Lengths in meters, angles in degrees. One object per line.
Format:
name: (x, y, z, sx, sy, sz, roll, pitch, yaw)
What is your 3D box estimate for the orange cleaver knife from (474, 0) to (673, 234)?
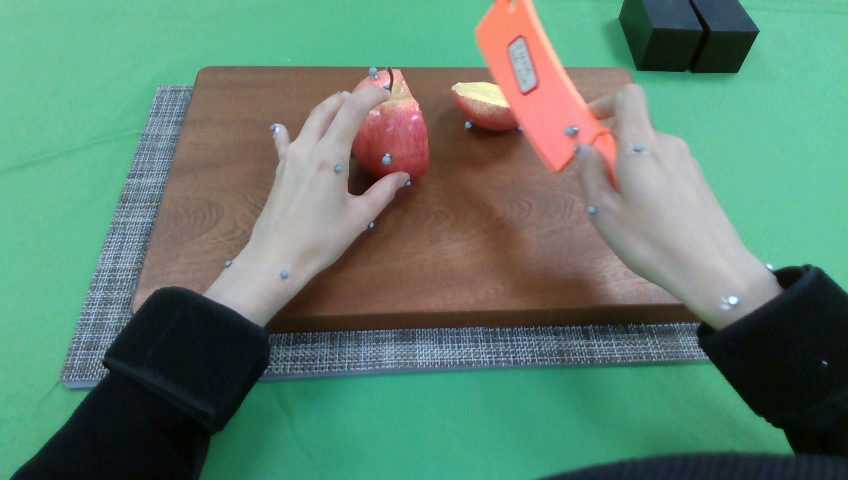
orange cleaver knife: (0.090, -0.085, 0.407, 0.012, 0.077, 0.209, -19, 69, -24)

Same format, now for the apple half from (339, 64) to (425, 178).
apple half: (-0.036, -0.085, 0.455, 0.053, 0.075, 0.080, -17, 59, -11)

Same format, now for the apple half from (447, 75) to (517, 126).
apple half: (0.052, -0.111, 0.501, 0.081, 0.033, 0.080, 7, 28, -4)
